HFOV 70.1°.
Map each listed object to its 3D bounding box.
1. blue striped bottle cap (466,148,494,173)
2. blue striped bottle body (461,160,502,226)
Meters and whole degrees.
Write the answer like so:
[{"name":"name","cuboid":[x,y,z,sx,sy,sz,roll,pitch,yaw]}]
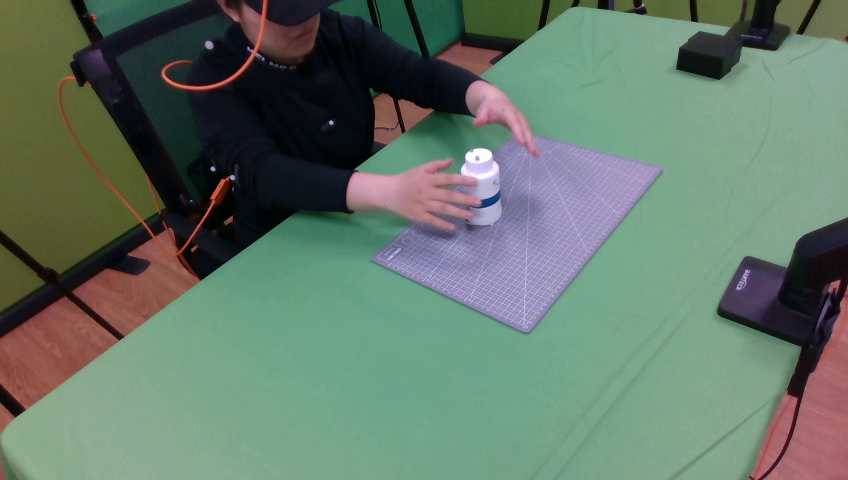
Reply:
[{"name":"blue striped bottle cap","cuboid":[0.088,-0.127,0.955,0.044,0.021,0.044,-6,41,6]},{"name":"blue striped bottle body","cuboid":[0.094,-0.088,0.987,0.063,0.121,0.063,-6,40,5]}]
